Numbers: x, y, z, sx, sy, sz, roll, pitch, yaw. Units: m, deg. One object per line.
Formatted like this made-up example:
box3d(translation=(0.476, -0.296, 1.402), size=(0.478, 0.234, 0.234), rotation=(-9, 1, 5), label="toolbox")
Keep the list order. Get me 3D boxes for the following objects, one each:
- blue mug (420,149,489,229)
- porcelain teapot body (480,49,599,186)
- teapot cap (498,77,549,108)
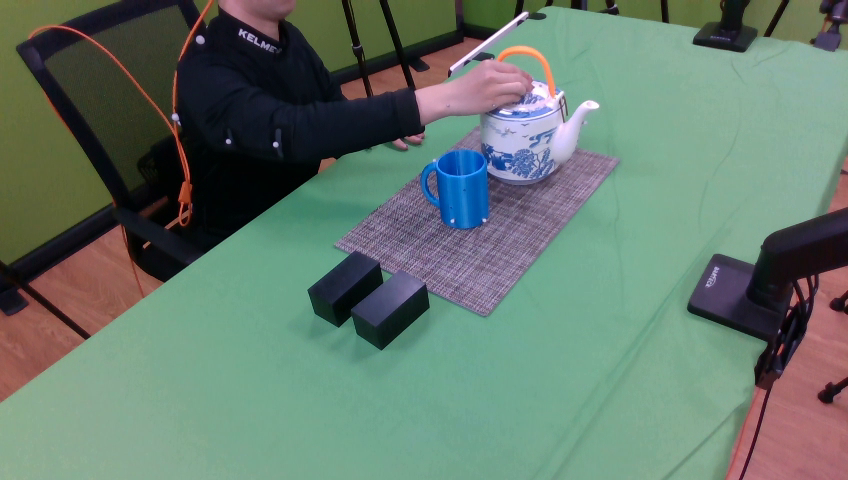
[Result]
box3d(translation=(0.048, -0.085, 0.991), size=(0.116, 0.106, 0.082), rotation=(9, 43, 19), label="blue mug")
box3d(translation=(0.192, -0.208, 1.023), size=(0.204, 0.226, 0.145), rotation=(17, 46, 25), label="porcelain teapot body")
box3d(translation=(0.166, -0.247, 1.010), size=(0.085, 0.044, 0.084), rotation=(-3, 45, 3), label="teapot cap")
